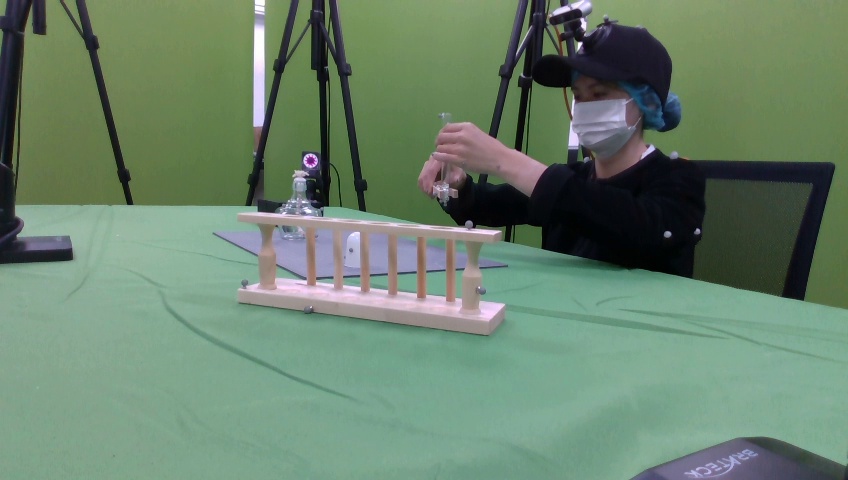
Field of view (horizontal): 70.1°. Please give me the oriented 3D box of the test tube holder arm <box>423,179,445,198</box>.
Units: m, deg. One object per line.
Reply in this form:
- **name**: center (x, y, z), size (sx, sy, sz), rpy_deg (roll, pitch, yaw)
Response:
- **test tube holder arm**: center (0.017, -0.094, 1.085), size (0.013, 0.015, 0.178), rpy_deg (0, 12, -11)

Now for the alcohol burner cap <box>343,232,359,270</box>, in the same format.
- **alcohol burner cap**: center (-0.087, 0.013, 0.776), size (0.034, 0.048, 0.034), rpy_deg (3, 7, 0)

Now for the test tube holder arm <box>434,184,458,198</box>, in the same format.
- **test tube holder arm**: center (0.035, -0.085, 1.046), size (0.010, 0.015, 0.087), rpy_deg (-5, 13, -26)

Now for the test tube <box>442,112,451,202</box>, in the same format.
- **test tube**: center (0.038, -0.138, 1.012), size (0.017, 0.150, 0.017), rpy_deg (0, 12, 0)

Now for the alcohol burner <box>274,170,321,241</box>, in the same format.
- **alcohol burner**: center (-0.212, -0.058, 1.015), size (0.078, 0.119, 0.078), rpy_deg (4, 5, 0)

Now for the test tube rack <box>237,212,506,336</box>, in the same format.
- **test tube rack**: center (-0.049, 0.024, 0.552), size (0.242, 0.085, 0.067), rpy_deg (5, 8, 18)
